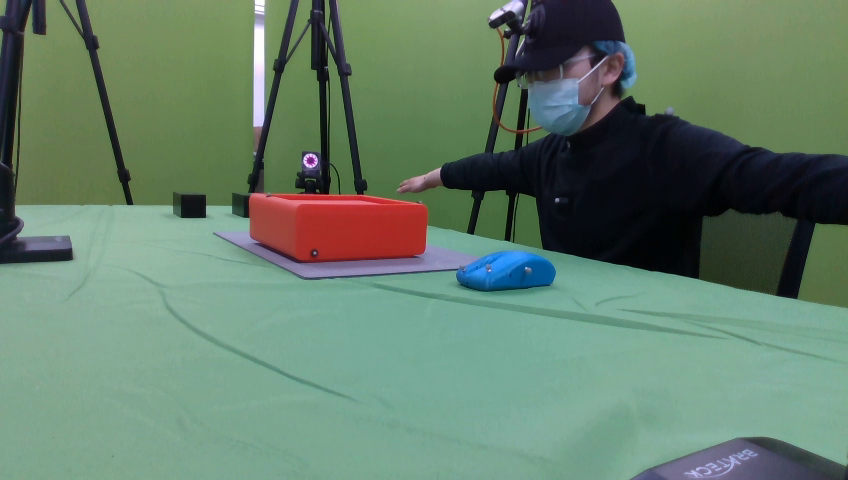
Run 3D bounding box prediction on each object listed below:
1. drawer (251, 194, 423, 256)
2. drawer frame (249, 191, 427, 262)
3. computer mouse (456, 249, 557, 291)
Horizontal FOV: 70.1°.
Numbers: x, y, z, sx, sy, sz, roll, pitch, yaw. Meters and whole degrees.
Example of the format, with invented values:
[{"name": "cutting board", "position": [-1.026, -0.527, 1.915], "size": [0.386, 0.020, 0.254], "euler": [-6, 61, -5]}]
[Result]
[{"name": "drawer", "position": [-0.136, -0.026, 0.911], "size": [0.195, 0.073, 0.210], "euler": [-1, 9, -31]}, {"name": "drawer frame", "position": [-0.135, -0.027, 0.909], "size": [0.203, 0.082, 0.212], "euler": [-1, 9, -32]}, {"name": "computer mouse", "position": [0.097, 0.034, 0.709], "size": [0.118, 0.041, 0.062], "euler": [-7, 13, -31]}]
